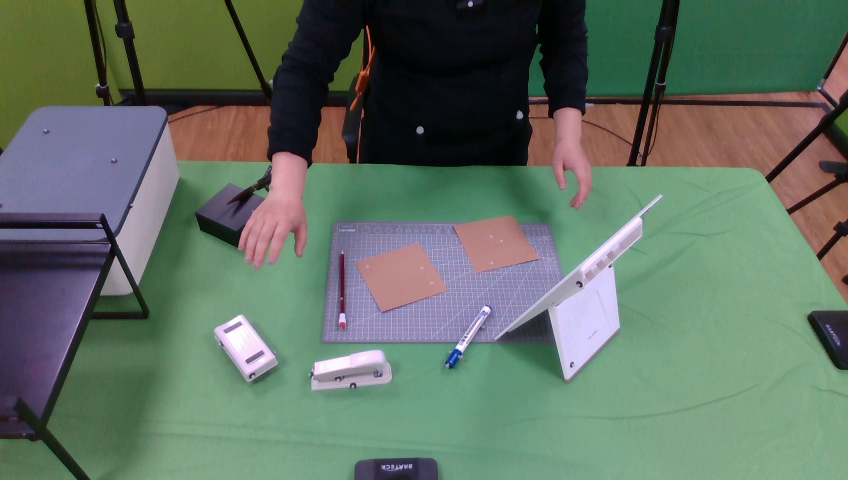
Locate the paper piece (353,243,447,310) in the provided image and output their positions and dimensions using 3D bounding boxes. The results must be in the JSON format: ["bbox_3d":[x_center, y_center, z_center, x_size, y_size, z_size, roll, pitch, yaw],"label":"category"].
[{"bbox_3d":[-0.046,0.066,1.137,0.136,0.009,0.137,-13,46,-23],"label":"paper piece"}]

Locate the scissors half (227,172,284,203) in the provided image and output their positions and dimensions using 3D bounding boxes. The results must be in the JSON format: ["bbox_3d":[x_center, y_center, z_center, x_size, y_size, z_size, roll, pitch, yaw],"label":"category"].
[{"bbox_3d":[-0.339,-0.101,1.230,0.013,0.040,0.175,19,28,18],"label":"scissors half"}]

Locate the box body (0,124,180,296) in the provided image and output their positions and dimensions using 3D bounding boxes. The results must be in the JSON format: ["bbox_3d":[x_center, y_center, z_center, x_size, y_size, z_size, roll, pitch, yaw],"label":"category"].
[{"bbox_3d":[-0.628,-0.075,1.122,0.254,0.161,0.361,1,46,-4],"label":"box body"}]

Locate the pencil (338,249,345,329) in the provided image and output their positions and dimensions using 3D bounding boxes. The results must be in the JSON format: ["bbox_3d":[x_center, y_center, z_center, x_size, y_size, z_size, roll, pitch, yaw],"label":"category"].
[{"bbox_3d":[-0.150,0.085,1.108,0.012,0.012,0.192,-1,44,-6],"label":"pencil"}]

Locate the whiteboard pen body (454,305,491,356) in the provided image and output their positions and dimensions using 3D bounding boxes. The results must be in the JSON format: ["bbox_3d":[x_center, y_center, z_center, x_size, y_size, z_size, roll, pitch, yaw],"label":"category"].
[{"bbox_3d":[0.079,0.163,1.047,0.017,0.017,0.140,25,50,19],"label":"whiteboard pen body"}]

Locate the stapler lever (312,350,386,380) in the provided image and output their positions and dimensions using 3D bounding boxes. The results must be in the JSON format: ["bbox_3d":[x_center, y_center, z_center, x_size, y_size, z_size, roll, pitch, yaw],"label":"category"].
[{"bbox_3d":[-0.120,0.198,0.963,0.118,0.040,0.026,-4,44,-8],"label":"stapler lever"}]

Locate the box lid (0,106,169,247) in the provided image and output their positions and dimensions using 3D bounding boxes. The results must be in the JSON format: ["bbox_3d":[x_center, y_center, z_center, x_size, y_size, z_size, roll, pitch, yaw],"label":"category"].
[{"bbox_3d":[-0.624,-0.125,1.067,0.263,0.015,0.369,0,46,-3],"label":"box lid"}]

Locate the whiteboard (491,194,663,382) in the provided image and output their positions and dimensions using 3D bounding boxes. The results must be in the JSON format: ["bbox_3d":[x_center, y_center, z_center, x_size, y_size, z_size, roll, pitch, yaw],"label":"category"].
[{"bbox_3d":[0.280,0.100,0.969,0.217,0.306,0.143,-33,77,-31],"label":"whiteboard"}]

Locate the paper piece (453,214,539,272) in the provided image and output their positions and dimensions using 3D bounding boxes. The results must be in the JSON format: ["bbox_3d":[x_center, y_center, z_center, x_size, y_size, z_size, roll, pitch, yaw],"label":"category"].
[{"bbox_3d":[0.142,0.003,1.212,0.135,0.004,0.135,-11,47,-13],"label":"paper piece"}]

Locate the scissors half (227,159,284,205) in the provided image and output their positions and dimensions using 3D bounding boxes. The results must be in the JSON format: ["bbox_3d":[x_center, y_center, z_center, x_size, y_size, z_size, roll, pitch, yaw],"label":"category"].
[{"bbox_3d":[-0.337,-0.117,1.218,0.013,0.040,0.174,23,45,15],"label":"scissors half"}]

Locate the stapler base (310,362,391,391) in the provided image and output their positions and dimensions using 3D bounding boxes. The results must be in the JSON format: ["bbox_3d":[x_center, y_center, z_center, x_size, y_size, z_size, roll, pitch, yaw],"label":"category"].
[{"bbox_3d":[-0.119,0.215,0.981,0.131,0.024,0.041,-5,44,-7],"label":"stapler base"}]

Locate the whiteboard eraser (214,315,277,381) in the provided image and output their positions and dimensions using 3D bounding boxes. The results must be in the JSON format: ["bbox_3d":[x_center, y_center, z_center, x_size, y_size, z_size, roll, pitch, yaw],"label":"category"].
[{"bbox_3d":[-0.292,0.176,0.990,0.055,0.042,0.112,-30,55,-30],"label":"whiteboard eraser"}]

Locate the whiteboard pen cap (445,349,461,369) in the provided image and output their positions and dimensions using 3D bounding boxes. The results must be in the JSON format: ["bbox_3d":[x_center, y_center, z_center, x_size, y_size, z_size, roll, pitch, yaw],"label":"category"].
[{"bbox_3d":[0.049,0.197,1.011,0.018,0.018,0.033,23,49,17],"label":"whiteboard pen cap"}]
